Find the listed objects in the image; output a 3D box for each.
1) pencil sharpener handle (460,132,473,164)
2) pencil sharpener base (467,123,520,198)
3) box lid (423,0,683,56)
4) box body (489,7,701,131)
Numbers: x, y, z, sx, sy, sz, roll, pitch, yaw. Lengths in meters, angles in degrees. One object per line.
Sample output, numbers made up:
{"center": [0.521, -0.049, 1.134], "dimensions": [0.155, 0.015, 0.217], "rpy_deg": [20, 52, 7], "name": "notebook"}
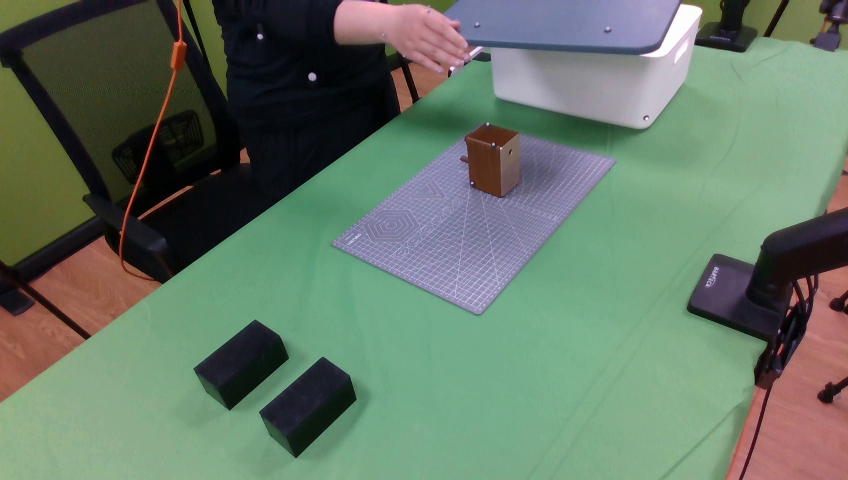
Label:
{"center": [0.077, -0.163, 1.062], "dimensions": [0.030, 0.068, 0.036], "rpy_deg": [23, 44, 33], "name": "pencil sharpener handle"}
{"center": [0.119, -0.138, 1.044], "dimensions": [0.076, 0.107, 0.061], "rpy_deg": [23, 50, 33], "name": "pencil sharpener base"}
{"center": [0.209, -0.362, 0.968], "dimensions": [0.369, 0.015, 0.263], "rpy_deg": [12, 44, 25], "name": "box lid"}
{"center": [0.345, -0.379, 1.257], "dimensions": [0.361, 0.161, 0.255], "rpy_deg": [20, 48, 29], "name": "box body"}
